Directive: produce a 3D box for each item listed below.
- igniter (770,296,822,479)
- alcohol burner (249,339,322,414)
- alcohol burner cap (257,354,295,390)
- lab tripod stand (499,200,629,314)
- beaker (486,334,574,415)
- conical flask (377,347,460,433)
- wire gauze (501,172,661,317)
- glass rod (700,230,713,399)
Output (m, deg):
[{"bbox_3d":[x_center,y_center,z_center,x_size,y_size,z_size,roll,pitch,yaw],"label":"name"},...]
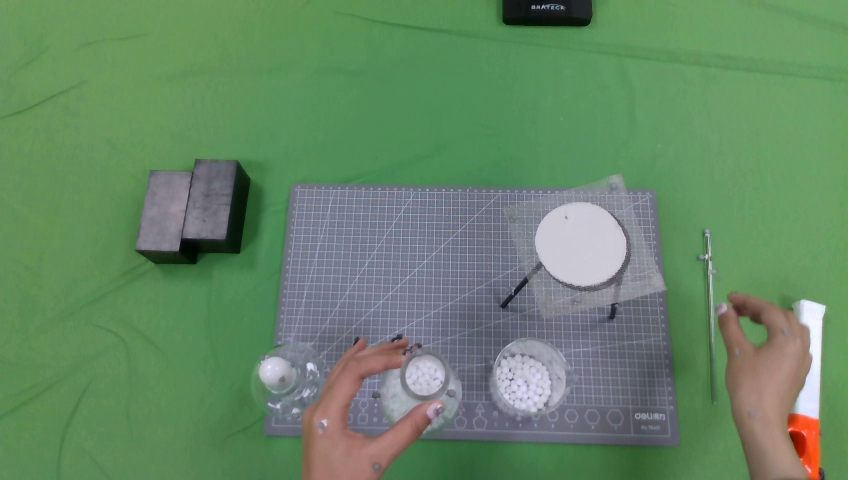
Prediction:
[{"bbox_3d":[0.400,0.195,0.648,0.057,0.025,0.275,16,73,-5],"label":"igniter"},{"bbox_3d":[-0.146,0.139,0.625,0.078,0.120,0.077,0,73,0],"label":"alcohol burner"},{"bbox_3d":[-0.146,0.126,0.591,0.034,0.048,0.033,2,70,-4],"label":"alcohol burner cap"},{"bbox_3d":[0.153,0.026,0.648,0.148,0.132,0.147,0,73,2],"label":"lab tripod stand"},{"bbox_3d":[0.104,0.143,0.628,0.084,0.101,0.073,-1,72,0],"label":"beaker"},{"bbox_3d":[-0.003,0.117,0.498,0.075,0.122,0.075,1,70,-2],"label":"conical flask"},{"bbox_3d":[0.150,0.003,0.585,0.125,0.011,0.120,-15,74,-3],"label":"wire gauze"},{"bbox_3d":[0.324,0.081,0.696,0.008,0.008,0.198,6,71,3],"label":"glass rod"}]
